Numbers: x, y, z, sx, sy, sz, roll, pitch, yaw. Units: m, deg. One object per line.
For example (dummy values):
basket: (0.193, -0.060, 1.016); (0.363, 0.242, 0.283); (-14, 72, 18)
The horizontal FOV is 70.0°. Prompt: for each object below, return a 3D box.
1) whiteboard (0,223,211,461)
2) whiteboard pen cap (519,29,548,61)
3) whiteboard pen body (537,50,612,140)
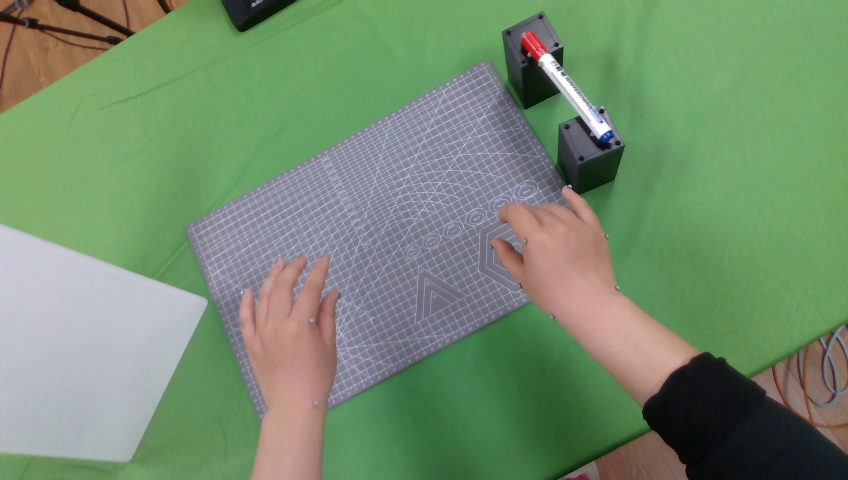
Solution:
whiteboard: (-0.437, 0.101, 0.665); (0.142, 0.308, 0.216); (18, 80, 35)
whiteboard pen cap: (0.117, -0.208, 0.646); (0.017, 0.017, 0.032); (-33, 74, 2)
whiteboard pen body: (0.149, -0.160, 0.628); (0.017, 0.017, 0.139); (-33, 73, 2)
